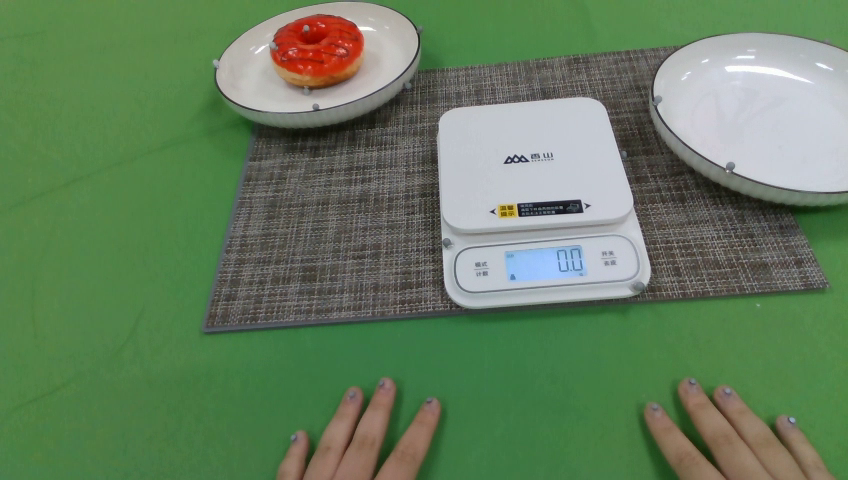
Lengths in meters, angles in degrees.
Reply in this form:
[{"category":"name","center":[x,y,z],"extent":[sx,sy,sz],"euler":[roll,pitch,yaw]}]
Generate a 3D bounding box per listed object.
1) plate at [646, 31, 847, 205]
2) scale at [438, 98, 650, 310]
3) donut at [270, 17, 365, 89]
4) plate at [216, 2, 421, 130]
[{"category":"plate","center":[0.292,-0.103,0.510],"extent":[0.207,0.039,0.205],"euler":[-2,51,3]},{"category":"scale","center":[0.087,-0.037,0.485],"extent":[0.148,0.032,0.199],"euler":[-5,51,4]},{"category":"donut","center":[-0.109,-0.192,0.622],"extent":[0.099,0.049,0.098],"euler":[-3,48,4]},{"category":"plate","center":[-0.105,-0.177,0.622],"extent":[0.209,0.038,0.207],"euler":[-4,48,5]}]
